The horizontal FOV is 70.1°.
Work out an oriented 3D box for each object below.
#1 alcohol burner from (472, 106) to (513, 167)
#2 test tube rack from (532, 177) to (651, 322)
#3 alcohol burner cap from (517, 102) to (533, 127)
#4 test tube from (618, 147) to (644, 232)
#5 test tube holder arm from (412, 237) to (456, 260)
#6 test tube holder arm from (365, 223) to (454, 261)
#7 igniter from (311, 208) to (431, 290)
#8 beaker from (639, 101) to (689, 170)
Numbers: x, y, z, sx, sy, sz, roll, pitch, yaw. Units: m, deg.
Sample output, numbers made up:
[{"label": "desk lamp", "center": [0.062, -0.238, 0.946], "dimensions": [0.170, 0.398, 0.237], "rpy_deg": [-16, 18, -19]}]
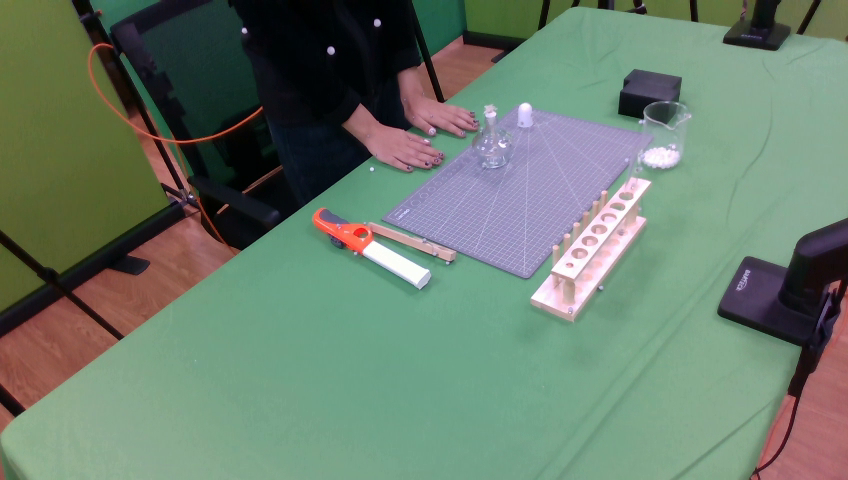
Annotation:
[{"label": "alcohol burner", "center": [0.125, -0.195, 1.112], "dimensions": [0.078, 0.119, 0.077], "rpy_deg": [-5, 42, 5]}, {"label": "test tube rack", "center": [0.247, 0.002, 0.883], "dimensions": [0.066, 0.085, 0.243], "rpy_deg": [22, 49, 32]}, {"label": "alcohol burner cap", "center": [0.205, -0.255, 1.223], "dimensions": [0.034, 0.048, 0.033], "rpy_deg": [-6, 40, 5]}, {"label": "test tube", "center": [0.301, -0.070, 0.882], "dimensions": [0.017, 0.151, 0.017], "rpy_deg": [-3, 43, 3]}, {"label": "test tube holder arm", "center": [0.013, 0.014, 0.968], "dimensions": [0.087, 0.015, 0.010], "rpy_deg": [19, 13, 30]}, {"label": "test tube holder arm", "center": [-0.027, 0.001, 0.985], "dimensions": [0.177, 0.015, 0.013], "rpy_deg": [19, 13, 29]}, {"label": "igniter", "center": [-0.097, 0.008, 0.986], "dimensions": [0.274, 0.025, 0.057], "rpy_deg": [28, 63, 36]}, {"label": "beaker", "center": [0.416, -0.178, 1.053], "dimensions": [0.074, 0.101, 0.083], "rpy_deg": [-4, 41, 7]}]
